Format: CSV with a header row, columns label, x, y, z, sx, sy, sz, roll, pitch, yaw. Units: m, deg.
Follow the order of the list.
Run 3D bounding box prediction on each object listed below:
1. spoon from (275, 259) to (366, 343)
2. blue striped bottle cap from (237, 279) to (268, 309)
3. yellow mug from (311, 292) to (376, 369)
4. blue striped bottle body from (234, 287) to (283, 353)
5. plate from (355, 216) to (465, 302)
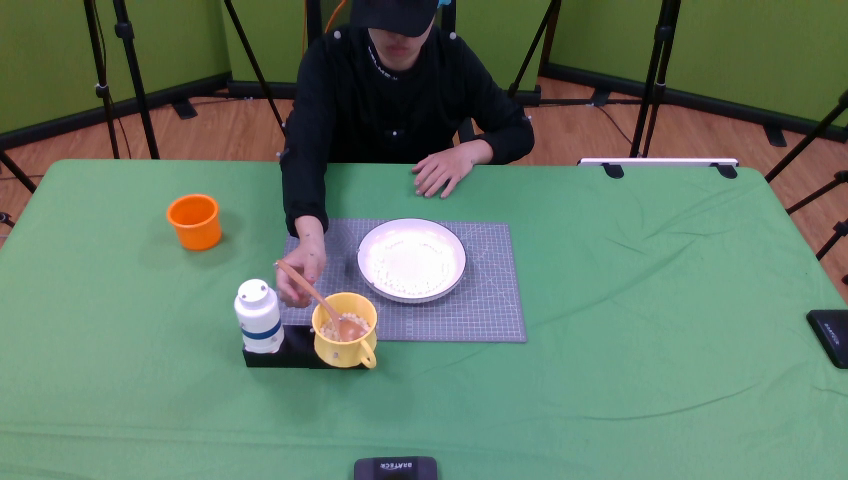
label,x,y,z,sx,sy,sz,roll,pitch,yaw
spoon,-0.161,0.098,0.946,0.194,0.021,0.041,48,56,-5
blue striped bottle cap,-0.252,0.078,0.892,0.044,0.021,0.044,4,47,-5
yellow mug,-0.116,0.149,0.945,0.100,0.064,0.130,-30,57,-28
blue striped bottle body,-0.254,0.114,0.929,0.063,0.121,0.062,2,46,-2
plate,-0.027,0.039,1.144,0.208,0.039,0.206,2,46,-2
